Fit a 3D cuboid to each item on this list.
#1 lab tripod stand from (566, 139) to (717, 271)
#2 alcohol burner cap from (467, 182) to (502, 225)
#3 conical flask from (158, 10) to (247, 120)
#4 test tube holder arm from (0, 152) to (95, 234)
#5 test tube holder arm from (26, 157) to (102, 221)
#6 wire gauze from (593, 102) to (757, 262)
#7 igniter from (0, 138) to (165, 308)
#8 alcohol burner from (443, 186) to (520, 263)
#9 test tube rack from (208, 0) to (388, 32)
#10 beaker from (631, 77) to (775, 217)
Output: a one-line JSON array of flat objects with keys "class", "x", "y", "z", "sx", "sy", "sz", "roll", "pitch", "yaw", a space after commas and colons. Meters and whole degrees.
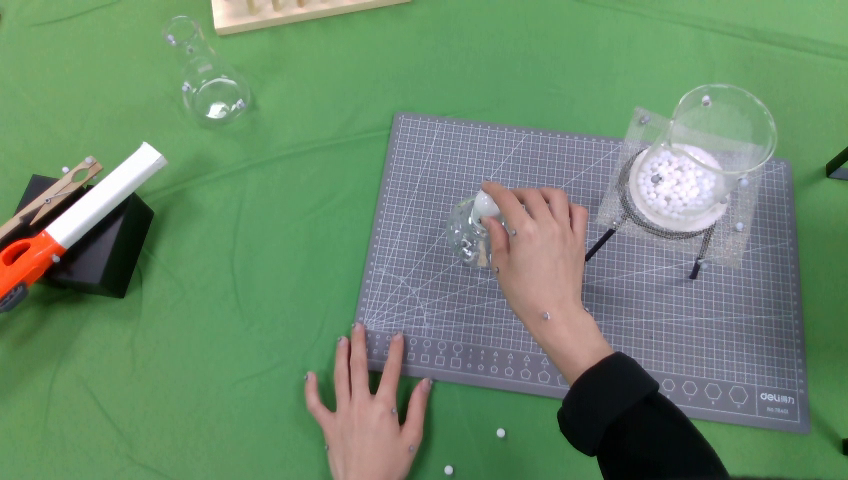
[{"class": "lab tripod stand", "x": 0.214, "y": -0.025, "z": 0.583, "sx": 0.148, "sy": 0.132, "sz": 0.147, "roll": 1, "pitch": 68, "yaw": -1}, {"class": "alcohol burner cap", "x": 0.057, "y": -0.036, "z": 0.558, "sx": 0.034, "sy": 0.048, "sz": 0.033, "roll": -1, "pitch": 72, "yaw": 2}, {"class": "conical flask", "x": -0.244, "y": -0.191, "z": 0.653, "sx": 0.075, "sy": 0.122, "sz": 0.075, "roll": 0, "pitch": 69, "yaw": 0}, {"class": "test tube holder arm", "x": -0.396, "y": -0.025, "z": 0.590, "sx": 0.178, "sy": 0.015, "sz": 0.013, "roll": -44, "pitch": 105, "yaw": -14}, {"class": "test tube holder arm", "x": -0.361, "y": -0.051, "z": 0.603, "sx": 0.088, "sy": 0.015, "sz": 0.010, "roll": -44, "pitch": 105, "yaw": -14}, {"class": "wire gauze", "x": 0.220, "y": -0.052, "z": 0.522, "sx": 0.121, "sy": 0.011, "sz": 0.124, "roll": 21, "pitch": 69, "yaw": 5}, {"class": "igniter", "x": -0.366, "y": 0.002, "z": 0.581, "sx": 0.057, "sy": 0.025, "sz": 0.276, "roll": 36, "pitch": 72, "yaw": 22}, {"class": "alcohol burner", "x": 0.058, "y": -0.022, "z": 0.592, "sx": 0.078, "sy": 0.120, "sz": 0.077, "roll": 1, "pitch": 67, "yaw": -2}, {"class": "test tube rack", "x": -0.146, "y": -0.325, "z": 0.723, "sx": 0.242, "sy": 0.086, "sz": 0.066, "roll": -12, "pitch": 69, "yaw": -5}, {"class": "beaker", "x": 0.209, "y": -0.066, "z": 0.476, "sx": 0.084, "sy": 0.101, "sz": 0.073, "roll": -15, "pitch": 70, "yaw": -5}]
